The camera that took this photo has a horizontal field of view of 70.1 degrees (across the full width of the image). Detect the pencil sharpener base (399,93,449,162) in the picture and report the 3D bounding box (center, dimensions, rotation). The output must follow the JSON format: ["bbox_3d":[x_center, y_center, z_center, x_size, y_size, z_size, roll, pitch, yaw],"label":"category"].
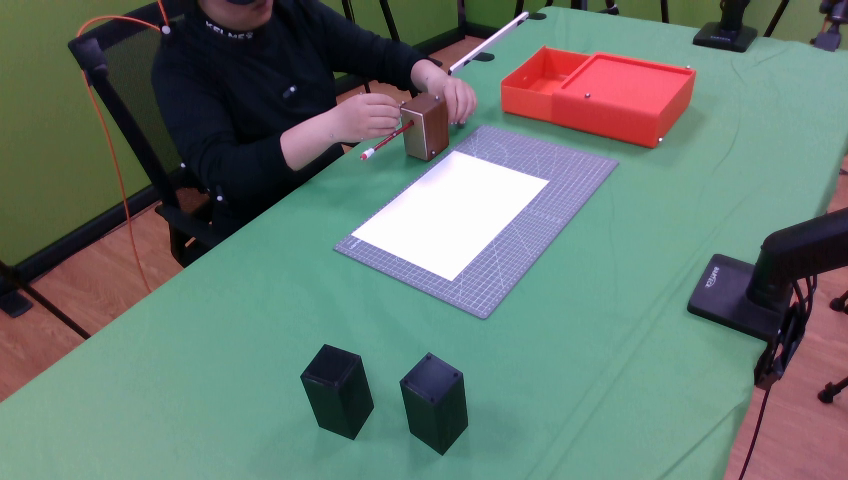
[{"bbox_3d":[0.003,-0.216,1.159,0.061,0.107,0.077,23,48,32],"label":"pencil sharpener base"}]

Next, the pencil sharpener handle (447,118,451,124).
[{"bbox_3d":[0.035,-0.253,1.179,0.035,0.068,0.031,17,45,36],"label":"pencil sharpener handle"}]

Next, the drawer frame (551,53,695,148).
[{"bbox_3d":[0.391,-0.281,1.196,0.212,0.083,0.202,22,48,29],"label":"drawer frame"}]

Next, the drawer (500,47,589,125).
[{"bbox_3d":[0.295,-0.316,1.255,0.210,0.073,0.195,22,47,29],"label":"drawer"}]

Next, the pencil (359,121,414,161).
[{"bbox_3d":[-0.050,-0.192,1.096,0.012,0.012,0.194,23,48,31],"label":"pencil"}]
